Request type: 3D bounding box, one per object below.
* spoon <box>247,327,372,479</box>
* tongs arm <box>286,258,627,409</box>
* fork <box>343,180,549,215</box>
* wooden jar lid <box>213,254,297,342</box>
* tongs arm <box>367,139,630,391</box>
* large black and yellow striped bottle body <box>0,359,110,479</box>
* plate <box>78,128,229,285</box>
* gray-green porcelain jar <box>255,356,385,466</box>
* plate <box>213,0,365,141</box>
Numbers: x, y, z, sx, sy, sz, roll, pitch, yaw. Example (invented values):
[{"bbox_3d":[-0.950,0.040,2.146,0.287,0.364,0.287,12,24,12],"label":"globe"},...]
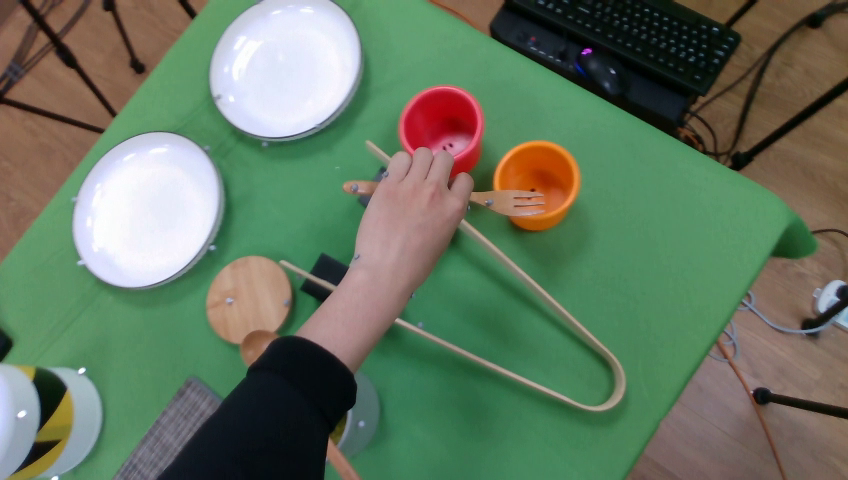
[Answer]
[{"bbox_3d":[-0.106,0.163,0.576,0.041,0.022,0.192,-38,77,-3],"label":"spoon"},{"bbox_3d":[0.031,0.091,0.651,0.384,0.026,0.050,28,80,4],"label":"tongs arm"},{"bbox_3d":[0.026,-0.043,0.578,0.208,0.018,0.028,4,76,-21],"label":"fork"},{"bbox_3d":[-0.206,0.072,0.746,0.108,0.021,0.108,-2,78,9],"label":"wooden jar lid"},{"bbox_3d":[0.079,0.021,0.662,0.386,0.028,0.028,42,78,5],"label":"tongs arm"},{"bbox_3d":[-0.467,0.200,0.678,0.130,0.185,0.130,-3,76,10],"label":"large black and yellow striped bottle body"},{"bbox_3d":[-0.346,-0.042,0.789,0.207,0.039,0.206,-2,77,10],"label":"plate"},{"bbox_3d":[-0.103,0.179,0.645,0.105,0.127,0.105,-2,76,10],"label":"gray-green porcelain jar"},{"bbox_3d":[-0.175,-0.226,0.800,0.209,0.038,0.208,-2,77,10],"label":"plate"}]
